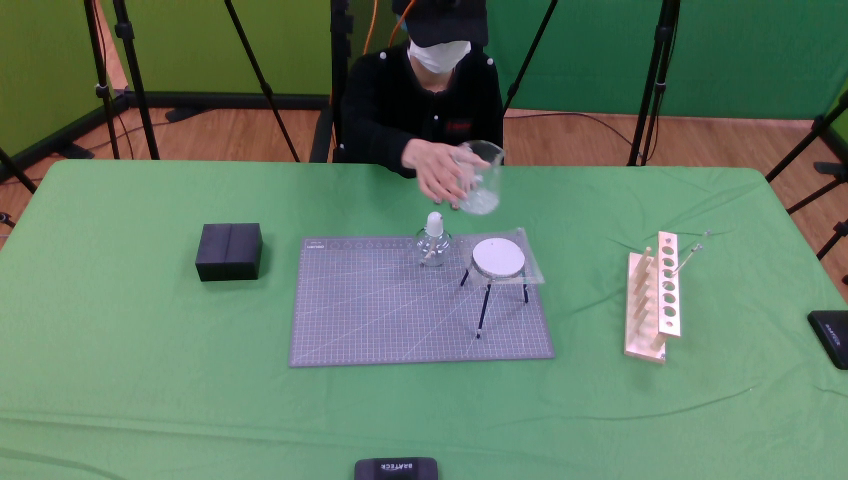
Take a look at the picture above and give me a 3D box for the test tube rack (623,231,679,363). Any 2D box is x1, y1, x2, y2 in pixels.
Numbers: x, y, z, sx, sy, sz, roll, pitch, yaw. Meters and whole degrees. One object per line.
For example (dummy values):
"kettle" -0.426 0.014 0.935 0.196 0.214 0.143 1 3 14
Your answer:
"test tube rack" 0.410 0.094 1.096 0.066 0.085 0.241 13 46 9

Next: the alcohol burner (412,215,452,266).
"alcohol burner" 0.017 -0.006 1.139 0.078 0.119 0.077 2 48 -2

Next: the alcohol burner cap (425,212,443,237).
"alcohol burner cap" 0.019 -0.032 1.114 0.034 0.048 0.033 0 49 0

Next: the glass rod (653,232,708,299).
"glass rod" 0.441 0.049 1.050 0.008 0.200 0.008 4 52 -5

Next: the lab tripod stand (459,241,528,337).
"lab tripod stand" 0.122 0.075 1.054 0.148 0.132 0.147 3 44 -3

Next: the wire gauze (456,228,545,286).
"wire gauze" 0.126 0.029 1.006 0.125 0.011 0.120 -4 46 -10

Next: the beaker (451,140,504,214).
"beaker" 0.087 -0.098 0.964 0.084 0.101 0.073 -12 43 -7
